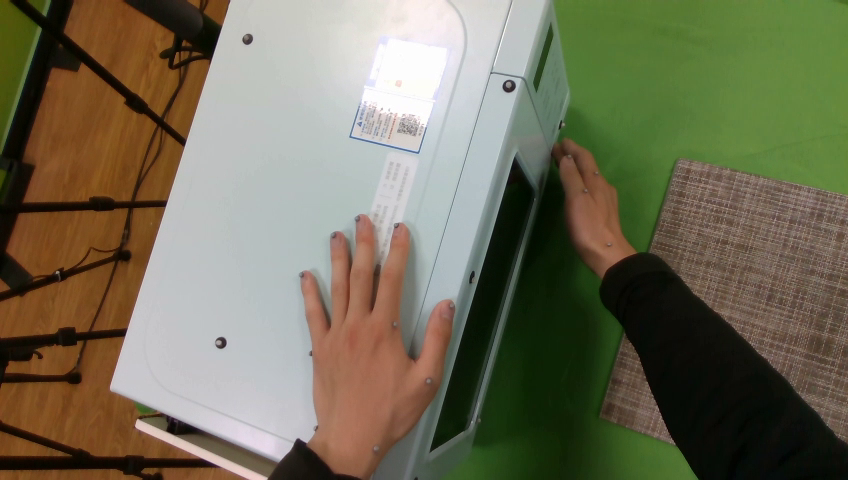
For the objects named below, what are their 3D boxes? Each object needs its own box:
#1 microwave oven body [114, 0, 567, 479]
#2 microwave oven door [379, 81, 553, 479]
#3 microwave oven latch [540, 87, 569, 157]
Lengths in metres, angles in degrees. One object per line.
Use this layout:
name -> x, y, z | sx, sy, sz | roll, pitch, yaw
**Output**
microwave oven body -> -0.069, -0.018, 0.642 | 0.324, 0.261, 0.441 | 15, 88, 18
microwave oven door -> 0.051, 0.057, 0.588 | 0.039, 0.245, 0.355 | 15, 87, 19
microwave oven latch -> 0.144, -0.137, 0.694 | 0.030, 0.029, 0.079 | 17, 88, 18
